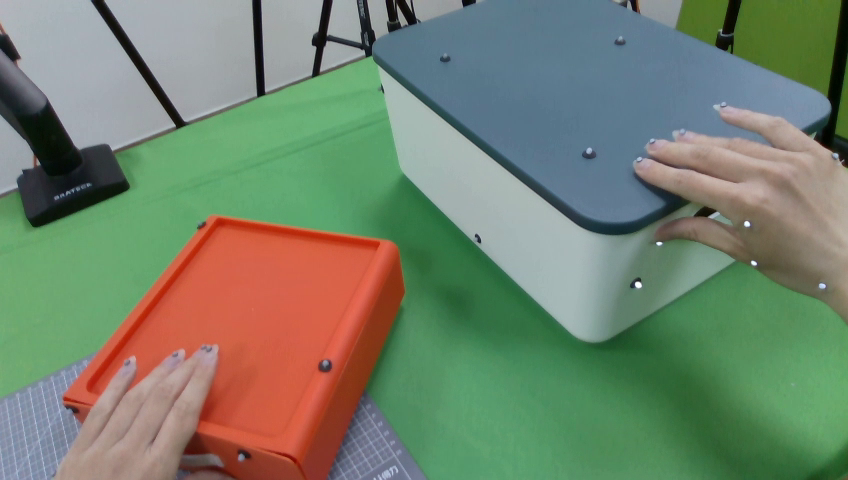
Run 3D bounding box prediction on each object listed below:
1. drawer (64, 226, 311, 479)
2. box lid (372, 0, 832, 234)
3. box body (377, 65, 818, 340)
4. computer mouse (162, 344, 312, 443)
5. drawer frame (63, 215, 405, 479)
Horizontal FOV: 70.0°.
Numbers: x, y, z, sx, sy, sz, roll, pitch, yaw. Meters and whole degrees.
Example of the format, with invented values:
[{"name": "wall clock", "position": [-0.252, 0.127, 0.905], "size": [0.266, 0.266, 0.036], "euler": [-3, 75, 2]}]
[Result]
[{"name": "drawer", "position": [-0.145, 0.088, 0.517], "size": [0.194, 0.074, 0.210], "euler": [7, 44, 16]}, {"name": "box lid", "position": [0.140, -0.152, 0.565], "size": [0.263, 0.015, 0.367], "euler": [-26, 47, -19]}, {"name": "box body", "position": [0.146, -0.099, 0.618], "size": [0.254, 0.162, 0.360], "euler": [-26, 47, -19]}, {"name": "computer mouse", "position": [-0.154, 0.124, 0.500], "size": [0.117, 0.041, 0.062], "euler": [13, 43, 11]}, {"name": "drawer frame", "position": [-0.145, 0.084, 0.518], "size": [0.201, 0.083, 0.212], "euler": [7, 44, 15]}]
